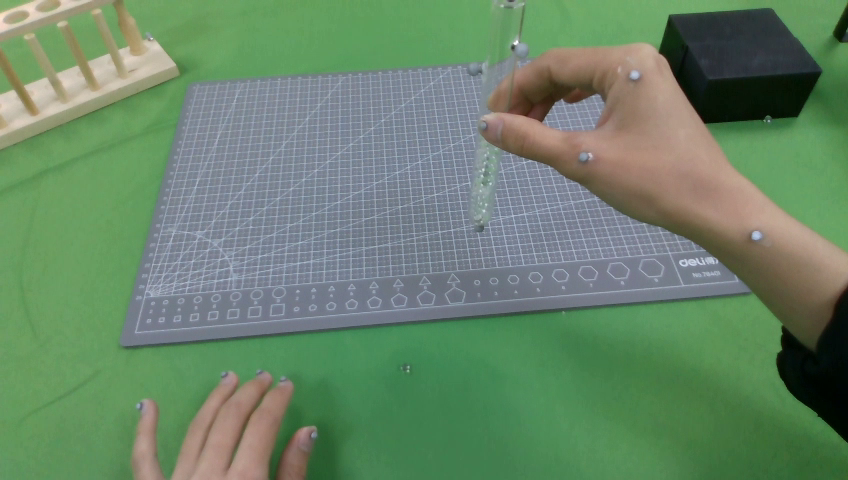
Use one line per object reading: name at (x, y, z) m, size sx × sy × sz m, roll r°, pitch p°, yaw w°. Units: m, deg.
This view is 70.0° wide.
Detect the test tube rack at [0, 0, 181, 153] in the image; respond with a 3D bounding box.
test tube rack at (-0.365, -0.153, 0.560) m, size 0.242 × 0.086 × 0.066 m, roll -31°, pitch 56°, yaw -21°

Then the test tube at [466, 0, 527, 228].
test tube at (0.035, -0.057, 0.318) m, size 0.017 × 0.151 × 0.017 m, roll 1°, pitch 51°, yaw -1°
